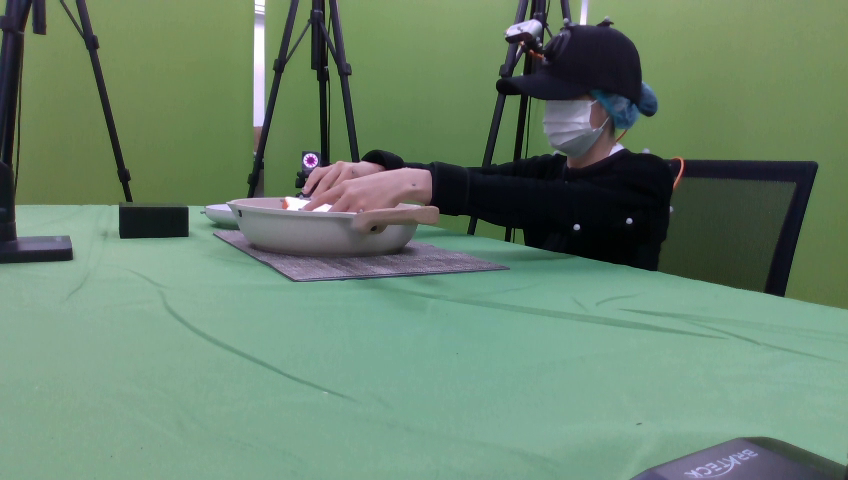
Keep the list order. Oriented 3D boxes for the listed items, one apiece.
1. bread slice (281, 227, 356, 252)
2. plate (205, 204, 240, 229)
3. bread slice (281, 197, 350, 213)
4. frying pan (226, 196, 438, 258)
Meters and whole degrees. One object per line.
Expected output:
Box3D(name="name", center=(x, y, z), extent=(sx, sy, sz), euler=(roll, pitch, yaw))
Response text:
Box3D(name="bread slice", center=(-0.170, -0.002, 0.943), extent=(0.107, 0.018, 0.134), euler=(2, 9, -16))
Box3D(name="plate", center=(-0.324, -0.046, 1.199), extent=(0.208, 0.039, 0.207), euler=(3, 7, 0))
Box3D(name="bread slice", center=(-0.169, -0.048, 0.935), extent=(0.105, 0.019, 0.131), euler=(11, 4, -20))
Box3D(name="frying pan", center=(-0.103, -0.027, 0.845), extent=(0.308, 0.102, 0.486), euler=(-2, 0, -25))
